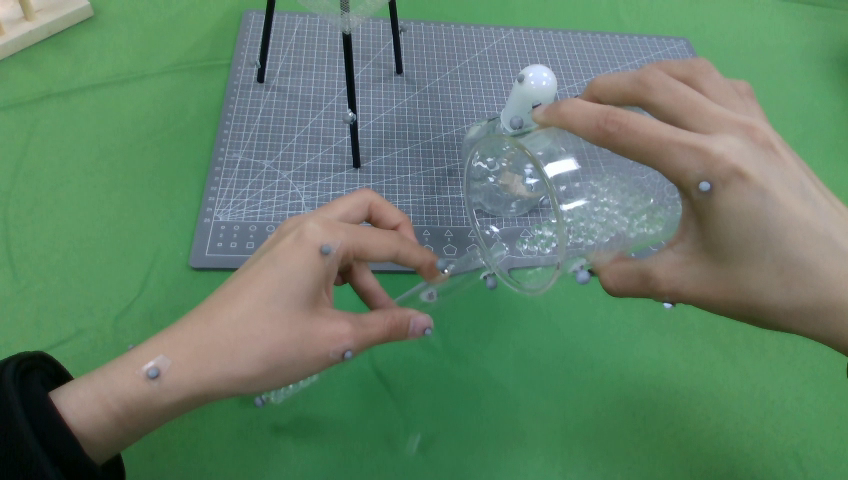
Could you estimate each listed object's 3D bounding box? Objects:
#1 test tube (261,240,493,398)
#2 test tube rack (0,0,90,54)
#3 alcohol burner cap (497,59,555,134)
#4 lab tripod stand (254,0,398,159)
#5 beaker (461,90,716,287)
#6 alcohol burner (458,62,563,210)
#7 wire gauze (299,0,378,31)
[{"bbox_3d":[-0.029,0.045,0.322,0.150,0.017,0.017,-33,57,15],"label":"test tube"},{"bbox_3d":[-0.395,-0.176,0.461,0.066,0.086,0.241,33,56,16],"label":"test tube rack"},{"bbox_3d":[0.070,-0.097,0.401,0.034,0.048,0.033,3,58,-5],"label":"alcohol burner cap"},{"bbox_3d":[-0.066,-0.158,0.459,0.149,0.132,0.147,5,54,-6],"label":"lab tripod stand"},{"bbox_3d":[0.078,-0.027,0.289,0.100,0.084,0.073,-19,68,-23],"label":"beaker"},{"bbox_3d":[0.065,-0.077,0.431,0.078,0.120,0.077,5,52,-6],"label":"alcohol burner"},{"bbox_3d":[-0.061,-0.197,0.405,0.124,0.011,0.121,34,58,15],"label":"wire gauze"}]
